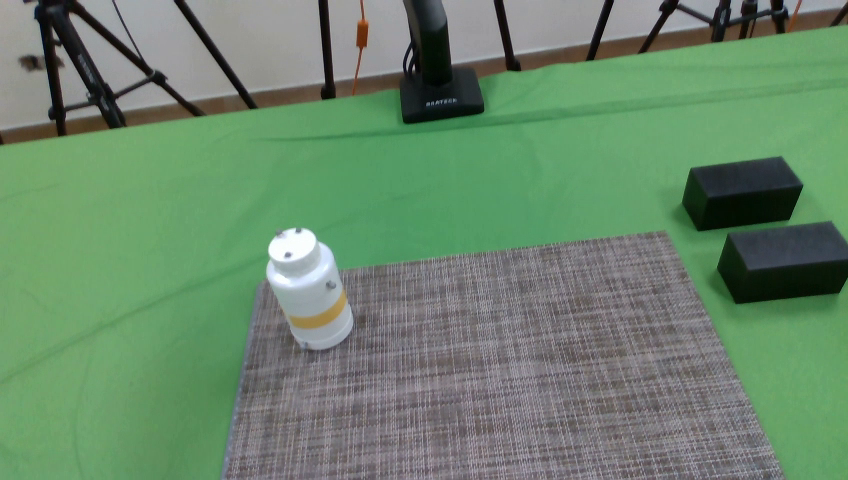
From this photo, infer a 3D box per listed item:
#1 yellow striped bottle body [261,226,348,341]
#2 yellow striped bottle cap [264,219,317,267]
[{"bbox_3d":[-0.114,0.038,0.579,0.063,0.121,0.062,-4,46,5],"label":"yellow striped bottle body"},{"bbox_3d":[-0.120,0.002,0.542,0.044,0.019,0.044,-6,45,6],"label":"yellow striped bottle cap"}]
